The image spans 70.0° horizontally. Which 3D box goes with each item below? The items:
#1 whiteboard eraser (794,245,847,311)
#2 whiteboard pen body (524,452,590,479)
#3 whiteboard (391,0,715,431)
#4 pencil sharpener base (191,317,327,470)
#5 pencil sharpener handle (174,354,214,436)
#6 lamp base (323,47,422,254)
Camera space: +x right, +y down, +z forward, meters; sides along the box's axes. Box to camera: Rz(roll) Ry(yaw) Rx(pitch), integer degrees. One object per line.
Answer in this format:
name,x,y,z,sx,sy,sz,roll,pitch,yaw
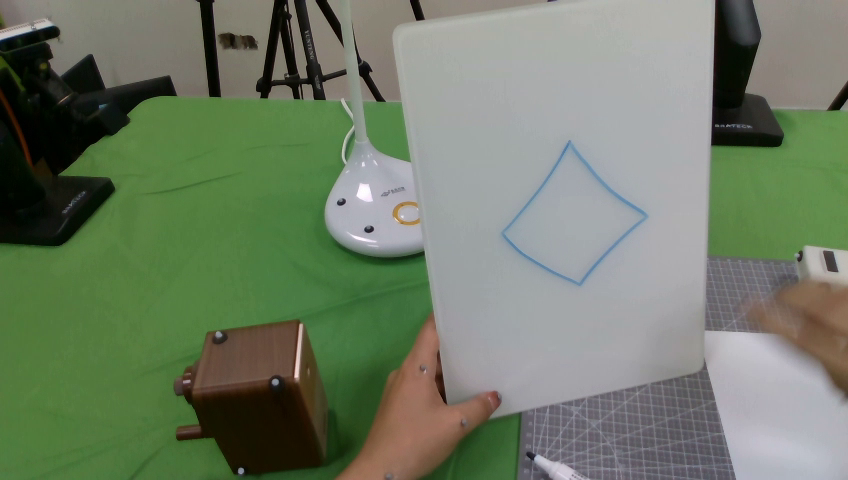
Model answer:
whiteboard eraser,0.396,0.039,0.540,0.112,0.042,0.055,10,43,17
whiteboard pen body,0.129,0.182,0.415,0.139,0.017,0.017,22,47,32
whiteboard,0.096,-0.033,0.498,0.217,0.307,0.142,-10,21,-5
pencil sharpener base,-0.119,0.117,0.451,0.077,0.108,0.060,-7,41,-2
pencil sharpener handle,-0.171,0.115,0.438,0.030,0.068,0.035,-7,28,-2
lamp base,-0.047,-0.103,0.648,0.161,0.182,0.177,-29,43,-26
